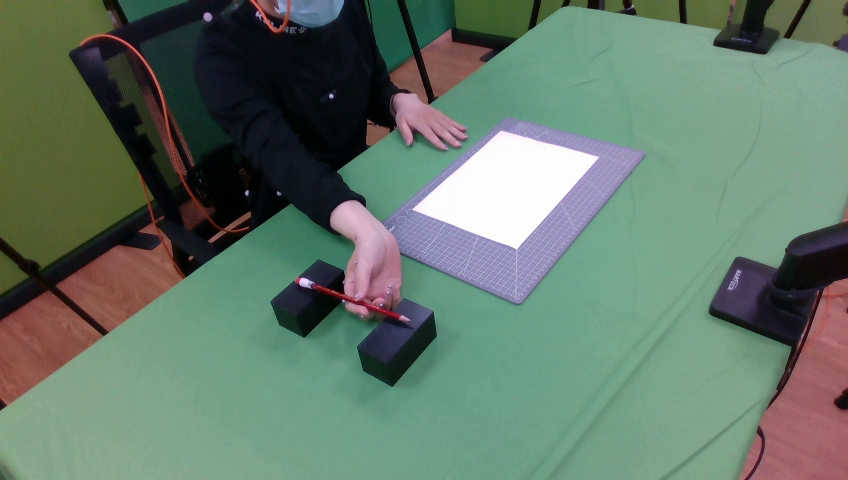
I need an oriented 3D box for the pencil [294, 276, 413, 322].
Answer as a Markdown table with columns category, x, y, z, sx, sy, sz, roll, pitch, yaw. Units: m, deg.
| category | x | y | z | sx | sy | sz | roll | pitch | yaw |
| --- | --- | --- | --- | --- | --- | --- | --- | --- | --- |
| pencil | -0.099 | 0.081 | 0.821 | 0.193 | 0.012 | 0.012 | 17 | 46 | 24 |
